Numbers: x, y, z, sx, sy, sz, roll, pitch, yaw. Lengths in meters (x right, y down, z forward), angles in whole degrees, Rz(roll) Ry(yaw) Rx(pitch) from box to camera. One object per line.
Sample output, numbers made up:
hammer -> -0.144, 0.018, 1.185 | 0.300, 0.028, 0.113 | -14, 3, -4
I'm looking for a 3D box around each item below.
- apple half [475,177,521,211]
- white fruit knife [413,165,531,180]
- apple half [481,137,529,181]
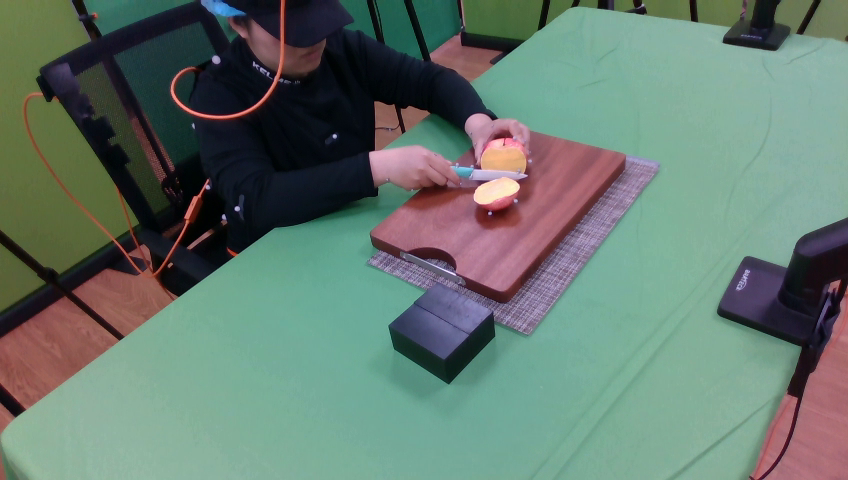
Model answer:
apple half -> 0.124, -0.071, 0.995 | 0.081, 0.033, 0.081 | -17, 29, 10
white fruit knife -> 0.080, -0.116, 1.046 | 0.207, 0.027, 0.016 | 3, 42, 13
apple half -> 0.141, -0.141, 1.043 | 0.080, 0.075, 0.053 | -3, 34, 15
